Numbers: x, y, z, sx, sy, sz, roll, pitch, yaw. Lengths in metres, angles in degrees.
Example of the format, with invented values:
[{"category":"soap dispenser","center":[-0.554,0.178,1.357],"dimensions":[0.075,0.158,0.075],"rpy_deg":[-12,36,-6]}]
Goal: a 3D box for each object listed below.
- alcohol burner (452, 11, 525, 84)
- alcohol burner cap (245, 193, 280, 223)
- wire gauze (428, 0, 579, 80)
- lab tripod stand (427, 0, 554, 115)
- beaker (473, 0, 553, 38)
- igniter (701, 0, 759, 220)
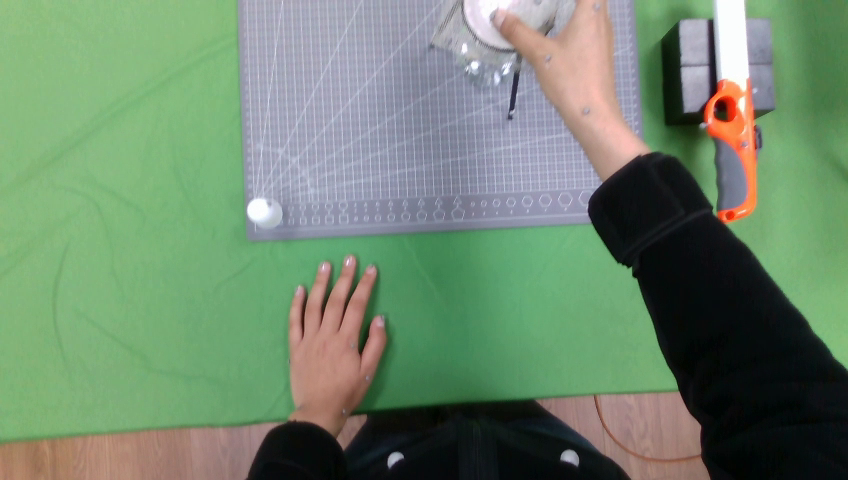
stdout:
[{"category":"alcohol burner","center":[0.069,-0.208,0.634],"dimensions":[0.078,0.119,0.078],"rpy_deg":[0,88,0]},{"category":"alcohol burner cap","center":[-0.177,-0.036,0.653],"dimensions":[0.034,0.048,0.034],"rpy_deg":[0,86,-2]},{"category":"wire gauze","center":[0.080,-0.220,0.559],"dimensions":[0.121,0.011,0.125],"rpy_deg":[20,83,-2]},{"category":"lab tripod stand","center":[0.077,-0.218,0.625],"dimensions":[0.148,0.131,0.148],"rpy_deg":[0,85,-1]},{"category":"beaker","center":[0.078,-0.223,0.511],"dimensions":[0.084,0.100,0.074],"rpy_deg":[-3,84,-1]},{"category":"igniter","center":[0.319,-0.158,0.637],"dimensions":[0.057,0.025,0.276],"rpy_deg":[0,86,2]}]
